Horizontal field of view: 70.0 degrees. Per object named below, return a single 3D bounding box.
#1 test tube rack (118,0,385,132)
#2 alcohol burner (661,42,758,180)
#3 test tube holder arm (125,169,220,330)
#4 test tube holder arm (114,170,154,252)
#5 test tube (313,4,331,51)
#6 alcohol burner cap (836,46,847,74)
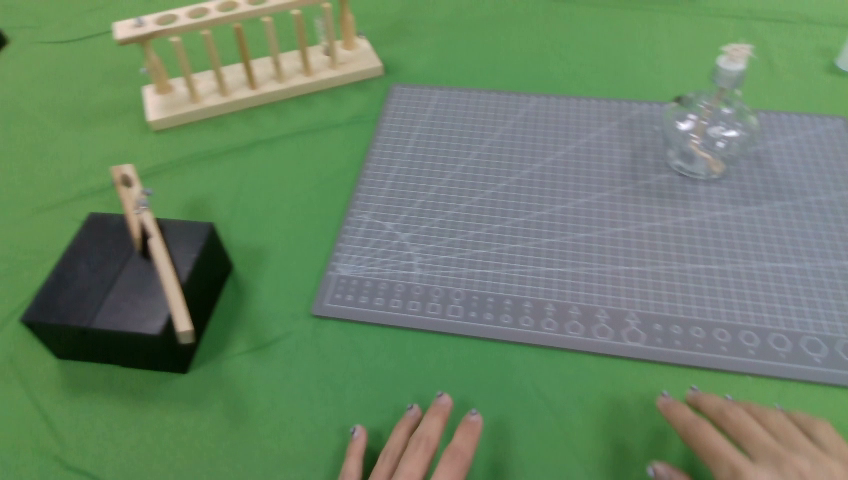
[{"bbox_3d":[-0.168,-0.192,0.619,0.243,0.086,0.066,-17,50,-13],"label":"test tube rack"},{"bbox_3d":[0.244,-0.110,0.507,0.078,0.120,0.077,-1,47,1],"label":"alcohol burner"},{"bbox_3d":[-0.185,0.001,0.432,0.013,0.015,0.176,-32,54,-20],"label":"test tube holder arm"},{"bbox_3d":[-0.216,-0.023,0.455,0.010,0.015,0.087,-29,53,-17],"label":"test tube holder arm"},{"bbox_3d":[-0.110,-0.261,0.609,0.017,0.151,0.017,-3,46,3],"label":"test tube"},{"bbox_3d":[0.455,-0.197,0.626,0.034,0.048,0.033,-2,49,3],"label":"alcohol burner cap"}]
